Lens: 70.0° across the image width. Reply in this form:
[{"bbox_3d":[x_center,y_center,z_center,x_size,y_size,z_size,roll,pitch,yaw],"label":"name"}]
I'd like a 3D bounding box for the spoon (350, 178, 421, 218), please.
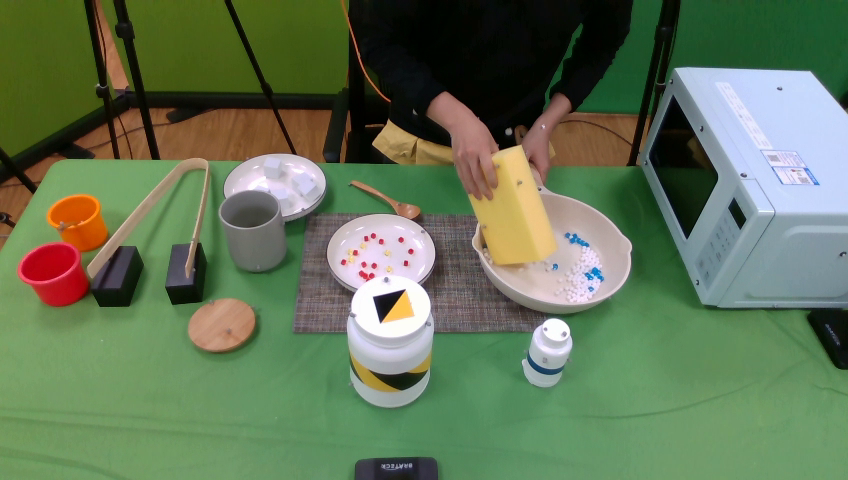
[{"bbox_3d":[-0.084,-0.093,1.273,0.193,0.022,0.041,31,69,25],"label":"spoon"}]

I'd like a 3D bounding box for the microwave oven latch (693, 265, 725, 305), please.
[{"bbox_3d":[0.523,0.082,1.116,0.030,0.029,0.078,2,46,-1],"label":"microwave oven latch"}]

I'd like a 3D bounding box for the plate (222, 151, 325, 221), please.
[{"bbox_3d":[-0.310,-0.106,1.262,0.208,0.039,0.206,2,47,-2],"label":"plate"}]

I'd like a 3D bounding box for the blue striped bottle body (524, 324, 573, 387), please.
[{"bbox_3d":[0.200,0.178,0.970,0.063,0.121,0.062,2,46,-2],"label":"blue striped bottle body"}]

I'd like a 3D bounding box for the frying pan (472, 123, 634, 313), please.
[{"bbox_3d":[0.235,-0.060,1.207,0.307,0.103,0.484,1,55,-6],"label":"frying pan"}]

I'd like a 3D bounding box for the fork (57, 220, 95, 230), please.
[{"bbox_3d":[-0.624,-0.027,1.087,0.028,0.207,0.018,-3,92,-17],"label":"fork"}]

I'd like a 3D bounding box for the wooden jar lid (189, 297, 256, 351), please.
[{"bbox_3d":[-0.342,0.145,1.033,0.108,0.021,0.107,2,45,-2],"label":"wooden jar lid"}]

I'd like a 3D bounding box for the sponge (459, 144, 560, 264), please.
[{"bbox_3d":[0.157,-0.062,1.119,0.061,0.207,0.118,-30,13,-38],"label":"sponge"}]

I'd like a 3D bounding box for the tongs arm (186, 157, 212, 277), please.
[{"bbox_3d":[-0.445,-0.058,1.168,0.051,0.026,0.382,-5,37,-6],"label":"tongs arm"}]

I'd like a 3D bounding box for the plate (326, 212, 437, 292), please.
[{"bbox_3d":[-0.080,0.030,1.143,0.209,0.038,0.208,3,46,-3],"label":"plate"}]

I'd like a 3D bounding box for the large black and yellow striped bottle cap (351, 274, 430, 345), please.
[{"bbox_3d":[-0.048,0.097,0.868,0.115,0.019,0.114,3,48,-3],"label":"large black and yellow striped bottle cap"}]

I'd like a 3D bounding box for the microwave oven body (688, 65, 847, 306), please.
[{"bbox_3d":[0.669,-0.111,1.176,0.326,0.261,0.439,0,46,-3],"label":"microwave oven body"}]

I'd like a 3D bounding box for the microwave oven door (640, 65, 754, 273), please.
[{"bbox_3d":[0.523,-0.147,1.193,0.039,0.245,0.353,0,47,-3],"label":"microwave oven door"}]

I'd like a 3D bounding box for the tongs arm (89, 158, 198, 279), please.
[{"bbox_3d":[-0.529,-0.057,1.164,0.028,0.028,0.385,1,36,8],"label":"tongs arm"}]

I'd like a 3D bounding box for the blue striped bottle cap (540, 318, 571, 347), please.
[{"bbox_3d":[0.203,0.142,0.933,0.044,0.021,0.044,3,49,-4],"label":"blue striped bottle cap"}]

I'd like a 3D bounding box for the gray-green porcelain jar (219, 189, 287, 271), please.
[{"bbox_3d":[-0.309,-0.014,1.113,0.106,0.127,0.105,2,46,-2],"label":"gray-green porcelain jar"}]

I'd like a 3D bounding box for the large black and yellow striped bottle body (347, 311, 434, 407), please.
[{"bbox_3d":[-0.052,0.157,0.929,0.131,0.185,0.130,2,47,-2],"label":"large black and yellow striped bottle body"}]
